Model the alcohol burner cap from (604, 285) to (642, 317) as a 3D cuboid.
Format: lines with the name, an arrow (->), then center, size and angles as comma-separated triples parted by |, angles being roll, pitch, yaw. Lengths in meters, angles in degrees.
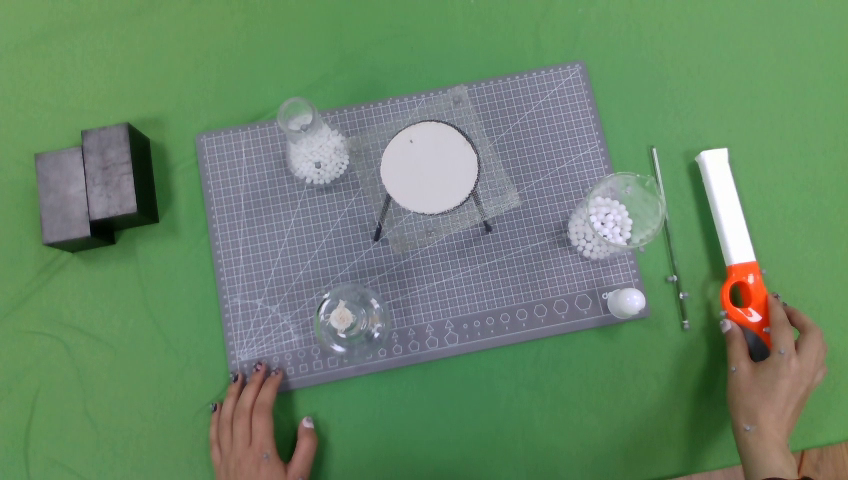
alcohol burner cap -> 0.210, 0.062, 0.631 | 0.034, 0.048, 0.033 | 0, 79, 1

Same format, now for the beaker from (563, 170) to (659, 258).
beaker -> 0.187, -0.024, 0.617 | 0.074, 0.100, 0.084 | 41, 82, 7

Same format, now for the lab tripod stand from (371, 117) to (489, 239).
lab tripod stand -> 0.002, -0.053, 0.605 | 0.148, 0.132, 0.148 | 0, 82, 1

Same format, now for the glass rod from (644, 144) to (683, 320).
glass rod -> 0.262, -0.011, 0.664 | 0.008, 0.008, 0.199 | -7, 80, -1

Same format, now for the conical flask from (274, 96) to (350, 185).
conical flask -> -0.121, -0.106, 0.619 | 0.075, 0.122, 0.075 | 0, 80, 1

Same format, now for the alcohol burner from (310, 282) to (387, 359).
alcohol burner -> -0.077, 0.077, 0.593 | 0.078, 0.119, 0.077 | 0, 79, 2

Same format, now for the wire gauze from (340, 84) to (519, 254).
wire gauze -> 0.003, -0.064, 0.538 | 0.125, 0.011, 0.121 | -24, 81, -3

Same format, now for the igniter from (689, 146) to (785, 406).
igniter -> 0.330, 0.033, 0.640 | 0.057, 0.025, 0.275 | -8, 78, -4
